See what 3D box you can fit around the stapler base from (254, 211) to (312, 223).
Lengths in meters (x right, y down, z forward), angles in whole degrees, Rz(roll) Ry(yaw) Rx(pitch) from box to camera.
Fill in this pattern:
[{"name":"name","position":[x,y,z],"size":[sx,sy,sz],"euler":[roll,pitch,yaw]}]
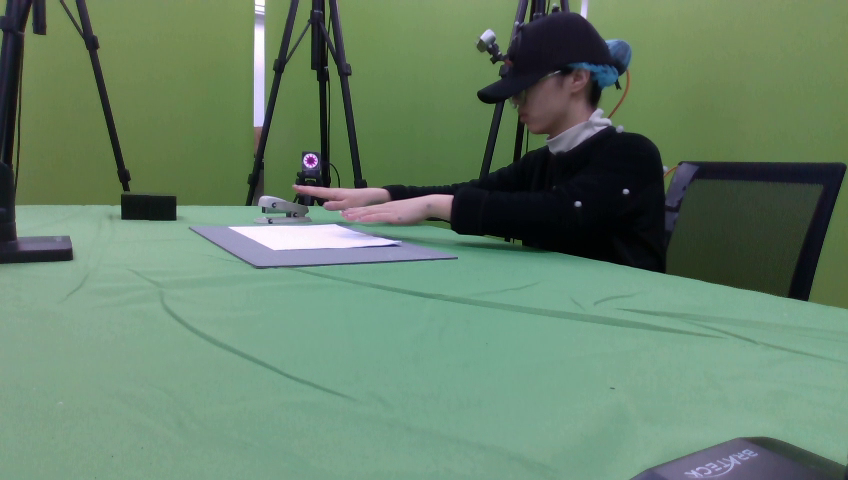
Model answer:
[{"name":"stapler base","position":[-0.303,-0.052,1.301],"size":[0.041,0.024,0.131],"euler":[11,9,38]}]

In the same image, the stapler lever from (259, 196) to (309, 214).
[{"name":"stapler lever","position":[-0.301,-0.076,1.299],"size":[0.026,0.040,0.119],"euler":[11,11,38]}]
